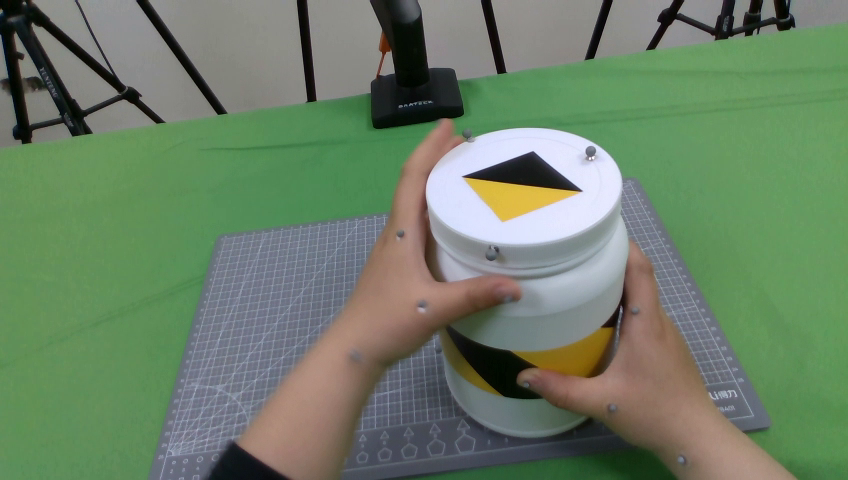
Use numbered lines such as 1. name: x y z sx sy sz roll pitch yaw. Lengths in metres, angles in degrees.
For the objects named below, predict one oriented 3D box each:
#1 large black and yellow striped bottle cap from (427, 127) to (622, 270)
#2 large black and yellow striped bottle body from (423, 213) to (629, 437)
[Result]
1. large black and yellow striped bottle cap: 0.059 -0.029 0.361 0.115 0.019 0.114 -6 43 6
2. large black and yellow striped bottle body: 0.069 0.034 0.418 0.131 0.186 0.129 -5 42 5
